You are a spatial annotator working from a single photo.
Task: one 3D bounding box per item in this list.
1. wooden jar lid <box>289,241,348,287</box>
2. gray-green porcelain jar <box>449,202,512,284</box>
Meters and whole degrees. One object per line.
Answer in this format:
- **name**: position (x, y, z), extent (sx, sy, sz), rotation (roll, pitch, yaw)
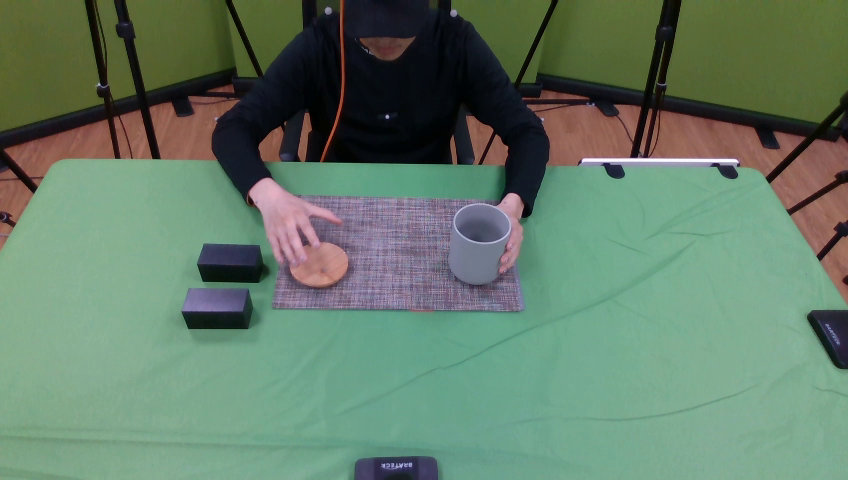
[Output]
- **wooden jar lid**: position (-0.196, 0.047, 1.133), extent (0.108, 0.021, 0.107), rotation (3, 45, -3)
- **gray-green porcelain jar**: position (0.101, 0.011, 1.116), extent (0.106, 0.127, 0.105), rotation (2, 47, -2)
